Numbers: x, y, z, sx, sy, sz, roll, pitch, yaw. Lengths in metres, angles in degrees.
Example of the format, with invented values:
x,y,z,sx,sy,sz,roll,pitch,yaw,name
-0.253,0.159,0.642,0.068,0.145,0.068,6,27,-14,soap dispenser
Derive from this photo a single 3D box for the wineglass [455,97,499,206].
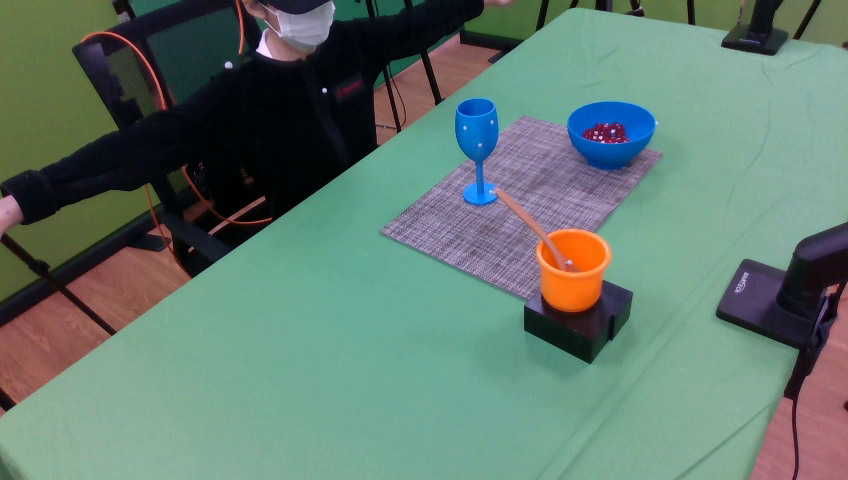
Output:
x,y,z,sx,sy,sz,roll,pitch,yaw,name
0.091,-0.145,1.009,0.074,0.173,0.073,-5,40,4,wineglass

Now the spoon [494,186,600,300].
x,y,z,sx,sy,sz,roll,pitch,yaw,name
0.157,0.002,0.773,0.042,0.194,0.021,-45,8,-35,spoon

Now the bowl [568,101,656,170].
x,y,z,sx,sy,sz,roll,pitch,yaw,name
0.332,-0.179,1.084,0.151,0.077,0.150,-4,40,4,bowl
